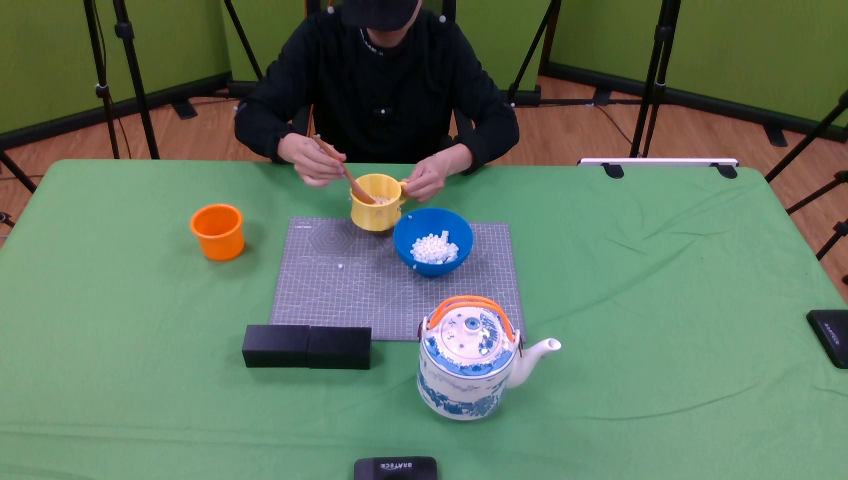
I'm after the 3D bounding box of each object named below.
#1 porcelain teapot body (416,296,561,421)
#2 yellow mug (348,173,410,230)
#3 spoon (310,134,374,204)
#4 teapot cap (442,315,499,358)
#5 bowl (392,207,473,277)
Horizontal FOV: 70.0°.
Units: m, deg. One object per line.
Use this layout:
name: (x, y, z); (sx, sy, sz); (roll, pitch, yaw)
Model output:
porcelain teapot body: (0.094, 0.164, 0.907); (0.205, 0.226, 0.144); (6, 45, 1)
yellow mug: (-0.083, -0.081, 1.186); (0.131, 0.064, 0.099); (-22, 50, -26)
spoon: (-0.150, -0.127, 1.113); (0.041, 0.195, 0.021); (12, 58, 42)
teapot cap: (0.068, 0.133, 0.880); (0.085, 0.044, 0.084); (4, 45, -4)
bowl: (0.014, 0.016, 1.140); (0.151, 0.077, 0.150); (2, 46, -2)
